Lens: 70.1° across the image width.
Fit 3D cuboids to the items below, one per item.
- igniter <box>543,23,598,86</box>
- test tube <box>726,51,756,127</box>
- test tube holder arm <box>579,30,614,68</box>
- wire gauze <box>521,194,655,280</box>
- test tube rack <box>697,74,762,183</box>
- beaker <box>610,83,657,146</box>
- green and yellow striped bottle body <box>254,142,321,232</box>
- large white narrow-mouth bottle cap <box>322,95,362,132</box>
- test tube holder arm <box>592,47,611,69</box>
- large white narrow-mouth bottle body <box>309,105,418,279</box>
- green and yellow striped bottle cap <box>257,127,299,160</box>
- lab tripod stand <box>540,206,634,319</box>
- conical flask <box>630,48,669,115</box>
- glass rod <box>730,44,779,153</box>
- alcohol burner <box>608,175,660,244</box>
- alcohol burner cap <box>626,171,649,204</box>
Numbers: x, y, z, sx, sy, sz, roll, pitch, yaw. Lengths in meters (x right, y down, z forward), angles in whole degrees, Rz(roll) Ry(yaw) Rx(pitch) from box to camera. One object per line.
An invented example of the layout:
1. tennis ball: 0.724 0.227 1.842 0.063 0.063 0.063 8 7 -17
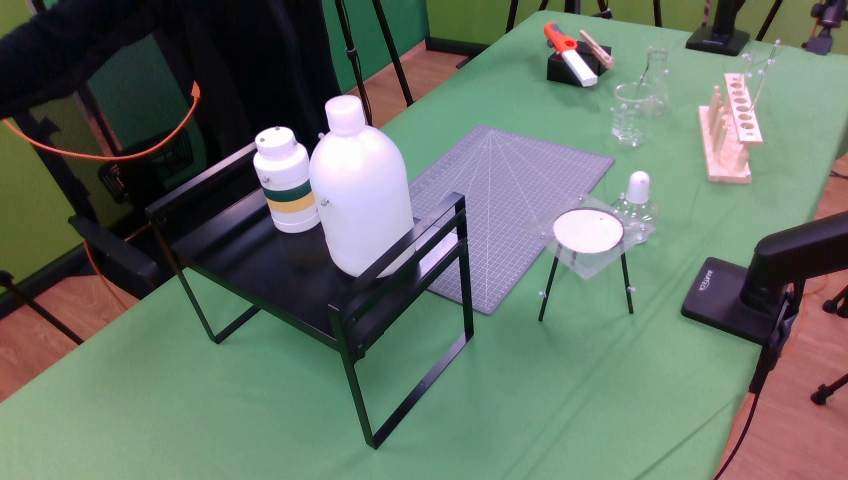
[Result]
1. igniter: 0.320 -0.419 1.345 0.057 0.025 0.274 -12 44 -3
2. test tube: 0.567 -0.268 1.086 0.017 0.151 0.017 -4 45 5
3. test tube holder arm: 0.384 -0.428 1.351 0.013 0.015 0.177 -11 41 -4
4. wire gauze: 0.207 -0.012 0.772 0.122 0.011 0.124 -28 44 -20
5. test tube rack: 0.547 -0.208 1.095 0.066 0.085 0.242 5 42 15
6. beaker: 0.388 -0.235 1.138 0.074 0.101 0.083 -31 45 -25
7. green and yellow striped bottle body: -0.165 -0.073 0.732 0.063 0.120 0.063 -4 41 4
8. large white narrow-mouth bottle cap: -0.080 -0.123 0.589 0.038 0.024 0.037 -5 40 5
9. test tube holder arm: 0.386 -0.398 1.317 0.010 0.015 0.087 -10 41 -2
10. large white narrow-mouth bottle body: -0.068 -0.057 0.644 0.102 0.195 0.101 -6 40 5
11. green and yellow striped bottle cap: -0.169 -0.112 0.698 0.045 0.020 0.045 -5 40 5
12. lab tripod stand: 0.217 0.034 0.821 0.148 0.132 0.147 -4 42 4
13. conical flask: 0.457 -0.317 1.205 0.075 0.122 0.075 -4 41 4
14. glass rod: 0.555 -0.234 1.020 0.008 0.200 0.008 2 40 -1
15. alcohol burner: 0.322 -0.053 0.924 0.078 0.119 0.077 -4 43 4
16. alcohol burner cap: 0.320 -0.081 0.900 0.034 0.048 0.033 -4 42 4
